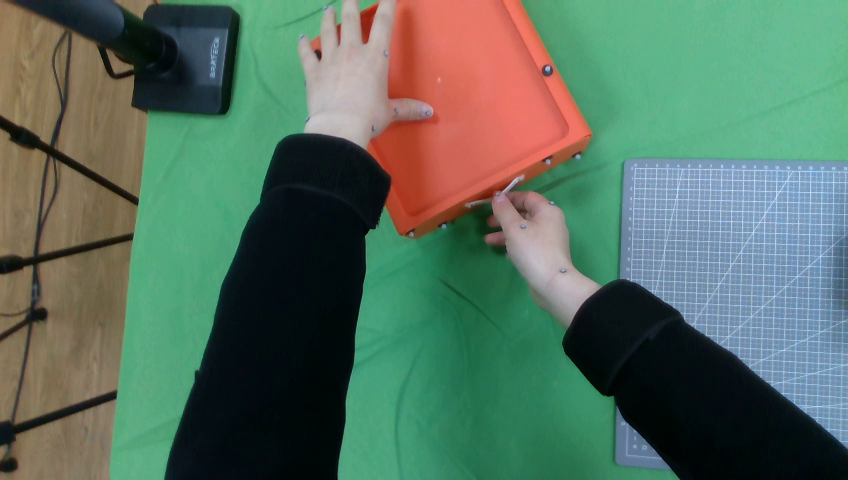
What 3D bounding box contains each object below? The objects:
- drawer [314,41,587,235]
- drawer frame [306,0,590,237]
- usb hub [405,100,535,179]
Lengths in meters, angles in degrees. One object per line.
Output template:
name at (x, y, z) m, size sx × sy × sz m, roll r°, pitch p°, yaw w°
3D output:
drawer at (0.024, -0.139, 0.600) m, size 0.194 × 0.073 × 0.211 m, roll -28°, pitch 82°, yaw 8°
drawer frame at (0.022, -0.140, 0.598) m, size 0.201 × 0.083 × 0.213 m, roll -28°, pitch 82°, yaw 8°
usb hub at (0.045, -0.100, 0.608) m, size 0.125 × 0.025 × 0.049 m, roll -12°, pitch 86°, yaw 15°
